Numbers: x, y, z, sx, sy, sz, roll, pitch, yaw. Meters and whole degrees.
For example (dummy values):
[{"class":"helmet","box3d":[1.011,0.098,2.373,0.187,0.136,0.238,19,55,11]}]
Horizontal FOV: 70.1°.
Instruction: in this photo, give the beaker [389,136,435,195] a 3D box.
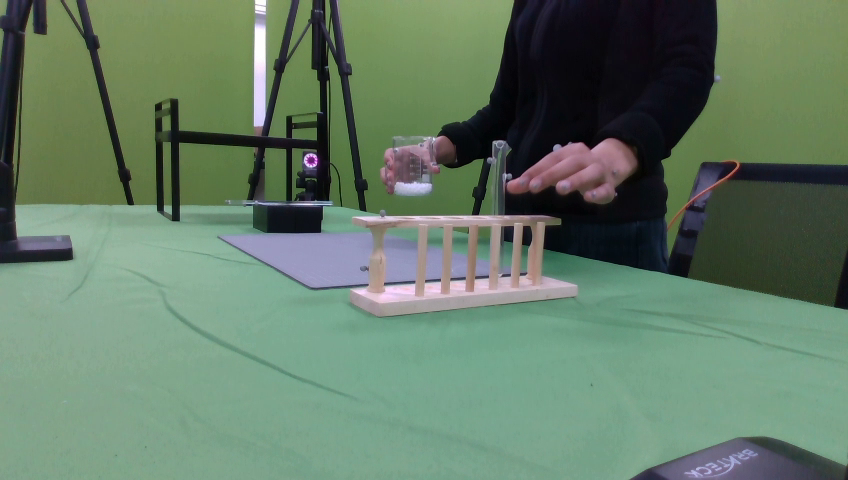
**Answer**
[{"class":"beaker","box3d":[-0.018,-0.128,1.039,0.083,0.100,0.074,5,11,30]}]

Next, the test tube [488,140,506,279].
[{"class":"test tube","box3d":[0.079,-0.032,0.653,0.017,0.150,0.017,1,2,0]}]

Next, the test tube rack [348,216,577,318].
[{"class":"test tube rack","box3d":[0.048,0.021,0.619,0.244,0.085,0.066,-2,8,-31]}]

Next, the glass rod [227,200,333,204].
[{"class":"glass rod","box3d":[-0.268,-0.071,1.143,0.201,0.008,0.008,-1,8,-29]}]
